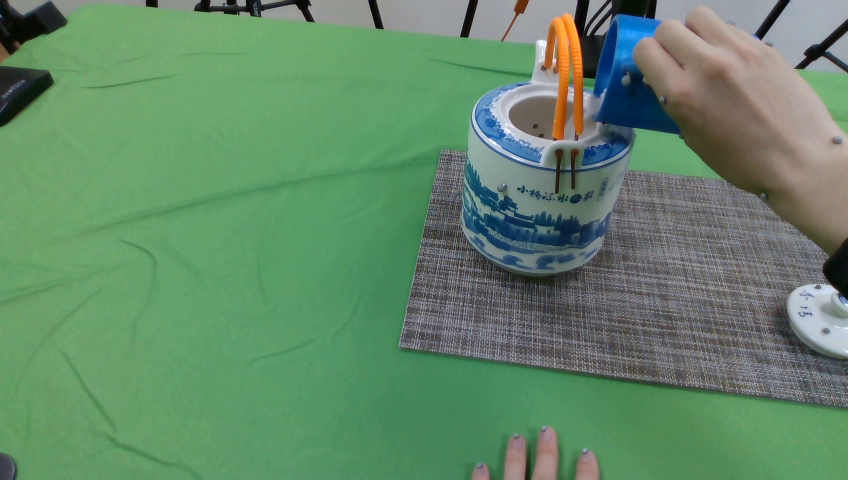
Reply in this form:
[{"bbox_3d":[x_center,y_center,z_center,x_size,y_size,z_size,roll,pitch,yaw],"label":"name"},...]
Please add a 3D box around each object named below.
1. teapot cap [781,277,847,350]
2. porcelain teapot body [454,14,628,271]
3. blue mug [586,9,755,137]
[{"bbox_3d":[0.365,0.061,0.540,0.085,0.044,0.084,3,43,-3],"label":"teapot cap"},{"bbox_3d":[0.106,-0.108,0.569,0.145,0.227,0.203,2,44,-2],"label":"porcelain teapot body"},{"bbox_3d":[0.185,-0.127,0.459,0.106,0.082,0.116,10,12,5],"label":"blue mug"}]
